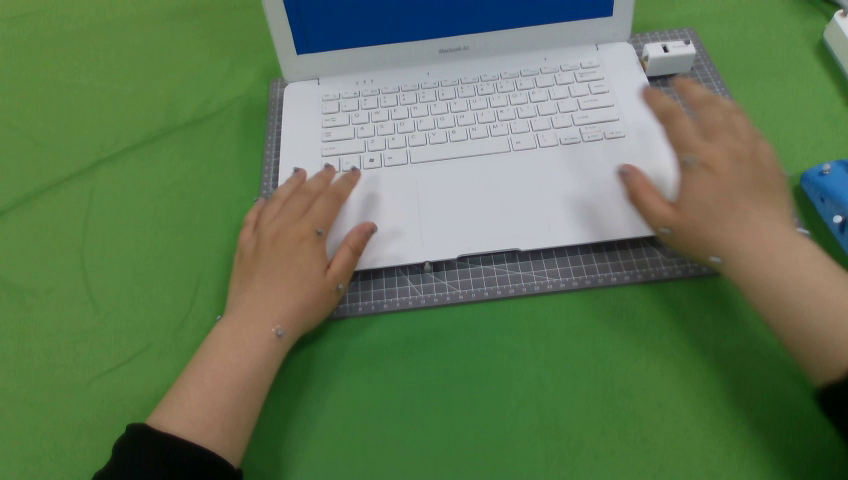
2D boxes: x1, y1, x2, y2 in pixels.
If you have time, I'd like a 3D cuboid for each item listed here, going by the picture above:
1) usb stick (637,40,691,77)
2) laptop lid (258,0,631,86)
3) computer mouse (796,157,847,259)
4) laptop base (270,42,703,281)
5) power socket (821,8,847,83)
[{"bbox_3d":[0.224,-0.174,0.586,0.059,0.027,0.021,-7,55,5],"label":"usb stick"},{"bbox_3d":[0.018,-0.263,0.542,0.357,0.244,0.013,-8,42,2],"label":"laptop lid"},{"bbox_3d":[0.348,-0.024,0.471,0.063,0.041,0.116,-11,50,1],"label":"computer mouse"},{"bbox_3d":[0.041,-0.080,0.553,0.354,0.023,0.233,-7,58,1],"label":"laptop base"},{"bbox_3d":[0.434,-0.138,0.545,0.072,0.033,0.224,-4,55,4],"label":"power socket"}]
